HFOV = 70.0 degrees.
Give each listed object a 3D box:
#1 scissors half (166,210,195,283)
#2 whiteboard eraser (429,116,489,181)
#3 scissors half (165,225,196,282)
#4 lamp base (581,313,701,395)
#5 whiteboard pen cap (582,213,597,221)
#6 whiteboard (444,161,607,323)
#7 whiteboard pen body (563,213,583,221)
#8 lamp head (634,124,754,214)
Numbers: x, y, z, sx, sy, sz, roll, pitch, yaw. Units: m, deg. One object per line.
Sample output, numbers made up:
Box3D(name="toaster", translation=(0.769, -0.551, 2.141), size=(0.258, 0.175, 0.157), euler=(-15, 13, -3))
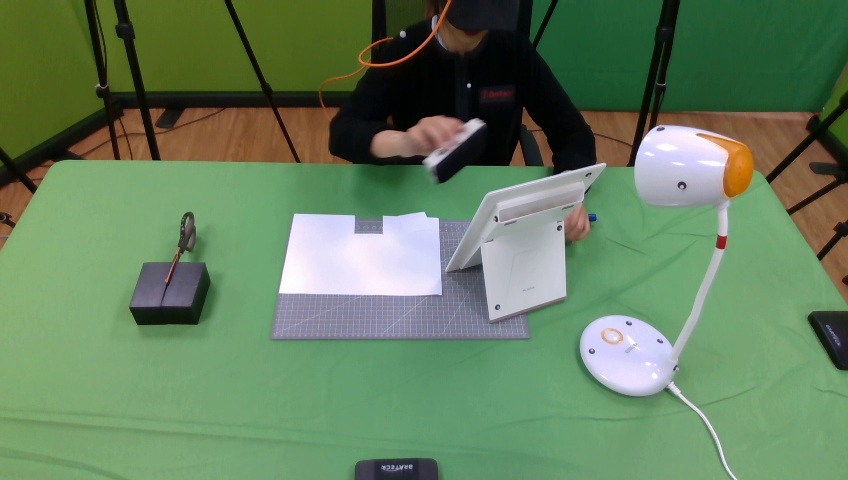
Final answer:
Box3D(name="scissors half", translation=(-0.440, 0.010, 1.094), size=(0.013, 0.040, 0.174), euler=(8, 48, -9))
Box3D(name="whiteboard eraser", translation=(0.060, -0.144, 0.975), size=(0.112, 0.056, 0.041), euler=(-42, 66, -11))
Box3D(name="scissors half", translation=(-0.444, 0.025, 1.107), size=(0.013, 0.040, 0.174), euler=(4, 30, -5))
Box3D(name="lamp base", translation=(0.361, 0.144, 0.972), size=(0.178, 0.181, 0.160), euler=(34, 53, 23))
Box3D(name="whiteboard pen cap", translation=(0.342, -0.048, 1.260), size=(0.033, 0.018, 0.018), euler=(-3, 46, -3))
Box3D(name="whiteboard", translation=(0.186, 0.025, 1.029), size=(0.217, 0.306, 0.143), euler=(-14, 68, -18))
Box3D(name="whiteboard pen body", translation=(0.282, -0.047, 1.258), size=(0.141, 0.017, 0.017), euler=(-1, 46, -3))
Box3D(name="lamp head", translation=(0.351, -0.089, 0.776), size=(0.112, 0.113, 0.122), euler=(-30, 30, -28))
